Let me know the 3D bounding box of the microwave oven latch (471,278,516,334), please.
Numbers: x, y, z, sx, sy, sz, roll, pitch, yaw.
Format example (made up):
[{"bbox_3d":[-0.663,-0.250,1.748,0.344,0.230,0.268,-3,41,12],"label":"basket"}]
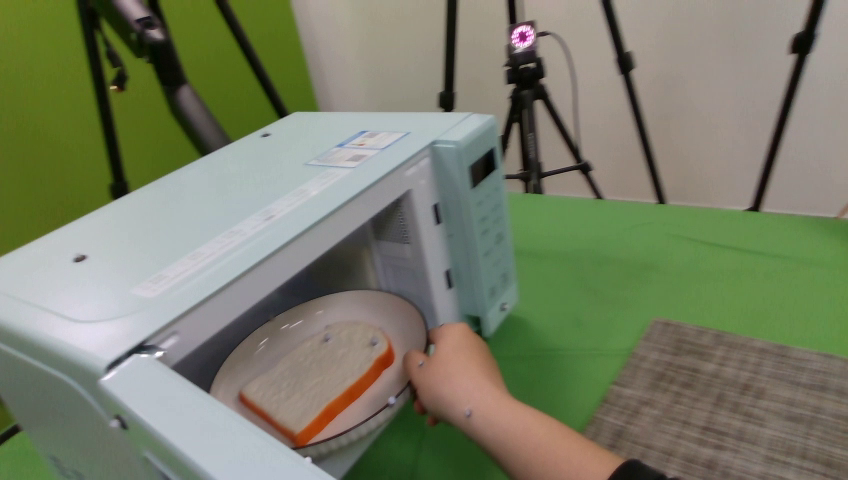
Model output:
[{"bbox_3d":[0.082,0.076,0.717,0.030,0.030,0.079,9,35,34],"label":"microwave oven latch"}]

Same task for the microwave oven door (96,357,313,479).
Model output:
[{"bbox_3d":[-0.025,0.205,0.295,0.353,0.246,0.039,13,37,40],"label":"microwave oven door"}]

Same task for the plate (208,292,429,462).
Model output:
[{"bbox_3d":[-0.093,0.124,0.564,0.209,0.038,0.207,-13,28,7],"label":"plate"}]

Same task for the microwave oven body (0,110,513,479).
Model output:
[{"bbox_3d":[-0.154,0.062,0.631,0.324,0.262,0.441,9,35,33],"label":"microwave oven body"}]

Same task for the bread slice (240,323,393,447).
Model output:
[{"bbox_3d":[-0.096,0.124,0.566,0.104,0.019,0.131,16,42,42],"label":"bread slice"}]
